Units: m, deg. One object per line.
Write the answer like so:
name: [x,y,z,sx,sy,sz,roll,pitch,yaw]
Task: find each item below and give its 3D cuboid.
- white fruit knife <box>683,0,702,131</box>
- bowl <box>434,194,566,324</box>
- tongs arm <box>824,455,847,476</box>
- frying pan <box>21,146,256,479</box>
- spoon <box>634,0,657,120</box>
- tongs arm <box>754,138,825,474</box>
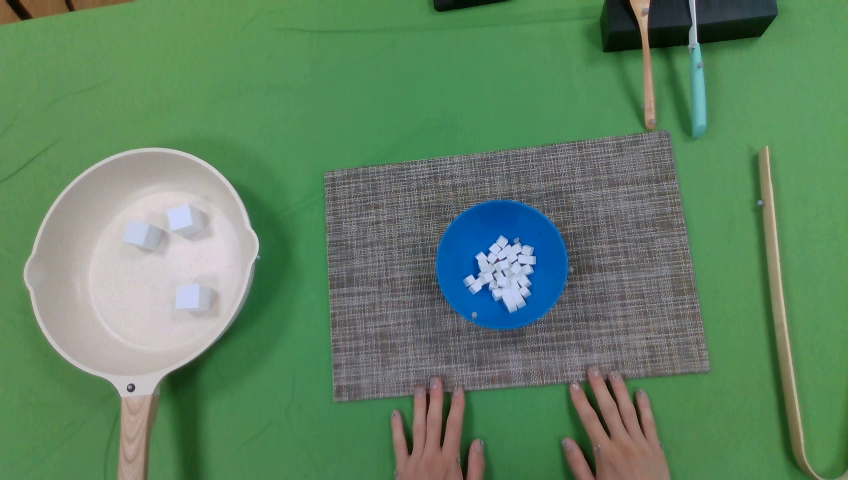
white fruit knife: [0.328,-0.240,0.748,0.016,0.027,0.207,-5,92,1]
bowl: [0.089,0.028,0.719,0.151,0.077,0.150,-1,78,6]
tongs arm: [0.496,0.073,0.688,0.050,0.026,0.383,10,81,10]
frying pan: [-0.344,0.123,0.740,0.306,0.103,0.484,-6,70,6]
spoon: [0.272,-0.248,0.750,0.041,0.022,0.194,5,100,30]
tongs arm: [0.416,0.067,0.703,0.028,0.028,0.385,-2,78,4]
